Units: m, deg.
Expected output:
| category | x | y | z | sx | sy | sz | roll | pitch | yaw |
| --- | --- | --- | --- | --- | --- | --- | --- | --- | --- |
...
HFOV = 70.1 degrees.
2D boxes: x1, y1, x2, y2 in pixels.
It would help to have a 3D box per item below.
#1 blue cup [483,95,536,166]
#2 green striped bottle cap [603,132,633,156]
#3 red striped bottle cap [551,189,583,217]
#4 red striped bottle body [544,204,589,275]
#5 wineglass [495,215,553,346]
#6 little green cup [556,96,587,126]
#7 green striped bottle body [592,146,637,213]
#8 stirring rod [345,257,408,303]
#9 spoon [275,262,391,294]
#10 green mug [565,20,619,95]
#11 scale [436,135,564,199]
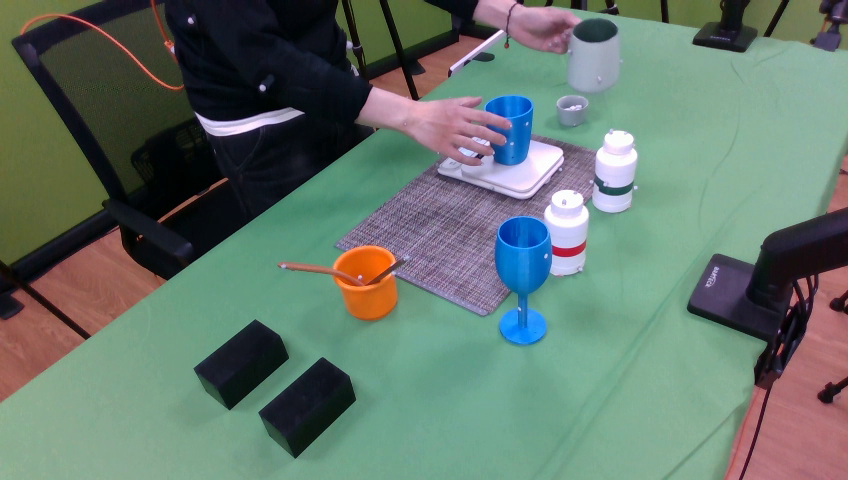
| category | x | y | z | sx | sy | sz | roll | pitch | yaw |
| --- | --- | --- | --- | --- | --- | --- | --- | --- | --- |
| blue cup | 0.150 | -0.187 | 1.053 | 0.092 | 0.101 | 0.092 | -6 | 40 | 5 |
| green striped bottle cap | 0.302 | -0.150 | 0.939 | 0.044 | 0.020 | 0.044 | -3 | 41 | 3 |
| red striped bottle cap | 0.200 | -0.052 | 0.843 | 0.044 | 0.018 | 0.044 | -2 | 42 | 2 |
| red striped bottle body | 0.206 | -0.011 | 0.877 | 0.063 | 0.120 | 0.062 | -5 | 41 | 4 |
| wineglass | 0.127 | 0.054 | 0.770 | 0.074 | 0.173 | 0.073 | -4 | 40 | 4 |
| little green cup | 0.295 | -0.258 | 1.214 | 0.061 | 0.039 | 0.061 | -4 | 42 | 4 |
| green striped bottle body | 0.307 | -0.108 | 0.975 | 0.063 | 0.120 | 0.063 | -4 | 41 | 4 |
| stirring rod | -0.067 | 0.057 | 0.814 | 0.014 | 0.175 | 0.006 | -23 | 81 | -38 |
| spoon | -0.120 | 0.050 | 0.830 | 0.041 | 0.195 | 0.021 | 31 | 97 | 45 |
| green mug | 0.289 | -0.329 | 1.071 | 0.093 | 0.105 | 0.124 | -22 | 49 | -8 |
| scale | 0.137 | -0.142 | 1.101 | 0.199 | 0.032 | 0.149 | 22 | 48 | 30 |
